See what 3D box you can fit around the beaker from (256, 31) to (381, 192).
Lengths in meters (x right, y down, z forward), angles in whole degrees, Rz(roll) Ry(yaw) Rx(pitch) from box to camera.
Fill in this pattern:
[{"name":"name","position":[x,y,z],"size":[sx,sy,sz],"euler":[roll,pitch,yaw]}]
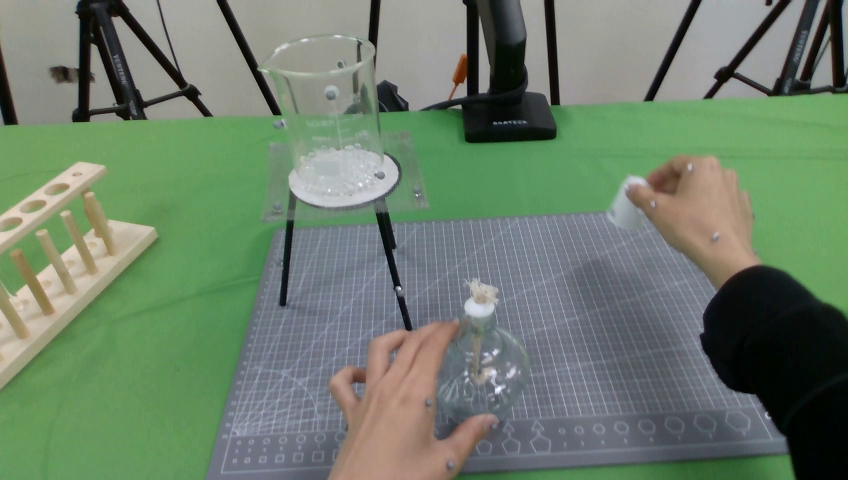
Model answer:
[{"name":"beaker","position":[-0.073,-0.093,0.451],"size":[0.084,0.101,0.073],"euler":[-7,39,-4]}]

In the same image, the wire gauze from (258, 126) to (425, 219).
[{"name":"wire gauze","position":[-0.067,-0.055,0.482],"size":[0.125,0.011,0.120],"euler":[-9,37,-3]}]

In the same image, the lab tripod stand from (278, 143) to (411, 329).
[{"name":"lab tripod stand","position":[-0.065,-0.004,0.523],"size":[0.148,0.133,0.147],"euler":[-2,40,2]}]

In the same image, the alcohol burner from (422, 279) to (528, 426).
[{"name":"alcohol burner","position":[0.036,0.076,0.433],"size":[0.078,0.120,0.077],"euler":[-2,37,2]}]

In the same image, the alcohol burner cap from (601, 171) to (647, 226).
[{"name":"alcohol burner cap","position":[0.183,-0.040,0.547],"size":[0.034,0.048,0.033],"euler":[4,43,-3]}]

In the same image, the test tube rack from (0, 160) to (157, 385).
[{"name":"test tube rack","position":[-0.353,0.029,0.541],"size":[0.066,0.086,0.241],"euler":[10,40,14]}]

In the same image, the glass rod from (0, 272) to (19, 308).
[{"name":"glass rod","position":[-0.383,-0.023,0.500],"size":[0.008,0.201,0.008],"euler":[-5,32,4]}]
